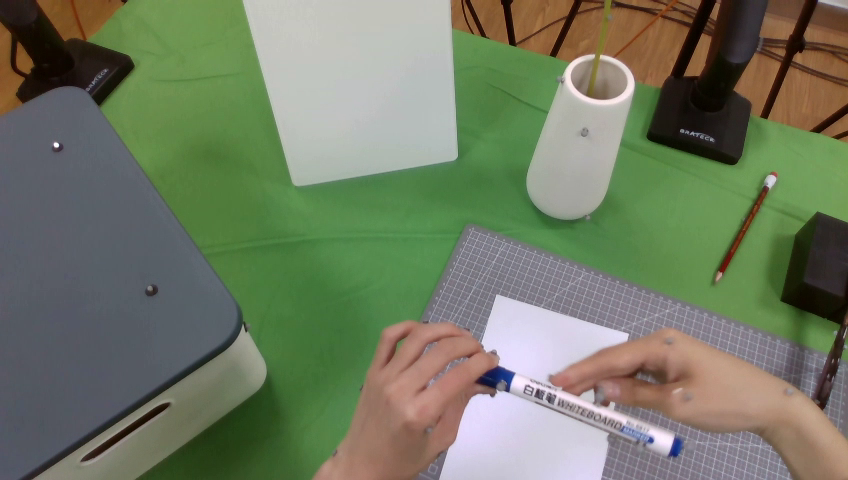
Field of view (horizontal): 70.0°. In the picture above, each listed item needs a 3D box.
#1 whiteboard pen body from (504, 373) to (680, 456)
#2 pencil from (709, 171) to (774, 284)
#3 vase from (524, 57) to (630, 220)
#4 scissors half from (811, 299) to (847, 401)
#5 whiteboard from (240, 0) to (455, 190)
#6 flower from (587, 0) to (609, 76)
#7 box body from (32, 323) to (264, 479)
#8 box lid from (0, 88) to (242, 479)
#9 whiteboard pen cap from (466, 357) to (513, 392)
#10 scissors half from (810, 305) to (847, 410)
[{"bbox_3d":[0.099,0.112,0.409,0.140,0.017,0.017,17,61,21],"label":"whiteboard pen body"},{"bbox_3d":[0.387,-0.018,0.739,0.012,0.012,0.193,32,66,18],"label":"pencil"},{"bbox_3d":[0.170,-0.108,0.682,0.098,0.201,0.097,0,58,1],"label":"vase"},{"bbox_3d":[0.427,0.086,0.618,0.012,0.040,0.174,19,63,32],"label":"scissors half"},{"bbox_3d":[-0.087,-0.242,0.733,0.217,0.308,0.142,-10,41,-5],"label":"whiteboard"},{"bbox_3d":[0.168,-0.163,0.618,0.044,0.365,0.038,15,44,12],"label":"flower"},{"bbox_3d":[-0.359,0.060,0.605,0.254,0.161,0.361,-35,66,-18],"label":"box body"},{"bbox_3d":[-0.360,0.021,0.541,0.263,0.015,0.368,-35,66,-19],"label":"box lid"},{"bbox_3d":[0.048,0.097,0.430,0.033,0.018,0.018,17,61,21],"label":"whiteboard pen cap"},{"bbox_3d":[0.435,0.095,0.634,0.012,0.040,0.175,18,80,37],"label":"scissors half"}]
